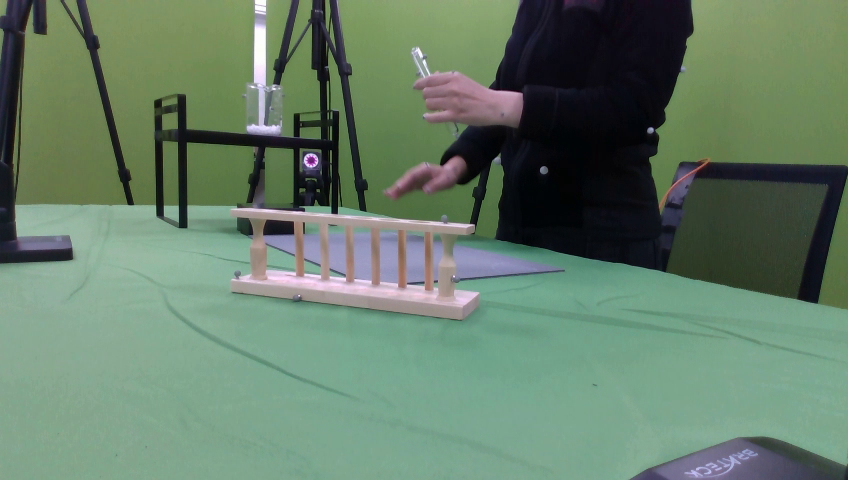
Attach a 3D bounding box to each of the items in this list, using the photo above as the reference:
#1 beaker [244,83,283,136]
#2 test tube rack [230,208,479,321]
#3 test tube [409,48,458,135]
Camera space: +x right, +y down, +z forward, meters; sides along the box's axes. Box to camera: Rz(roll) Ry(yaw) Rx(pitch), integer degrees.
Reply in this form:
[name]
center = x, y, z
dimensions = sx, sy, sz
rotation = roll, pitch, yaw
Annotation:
[beaker]
center = -0.322, -0.260, 1.215
dimensions = 0.074, 0.100, 0.083
rotation = -1, 9, -27
[test tube rack]
center = -0.069, 0.017, 0.598
dimensions = 0.242, 0.085, 0.067
rotation = 5, 8, 18
[test tube]
center = 0.016, -0.232, 0.945
dimensions = 0.017, 0.150, 0.017
rotation = -26, -3, -1
